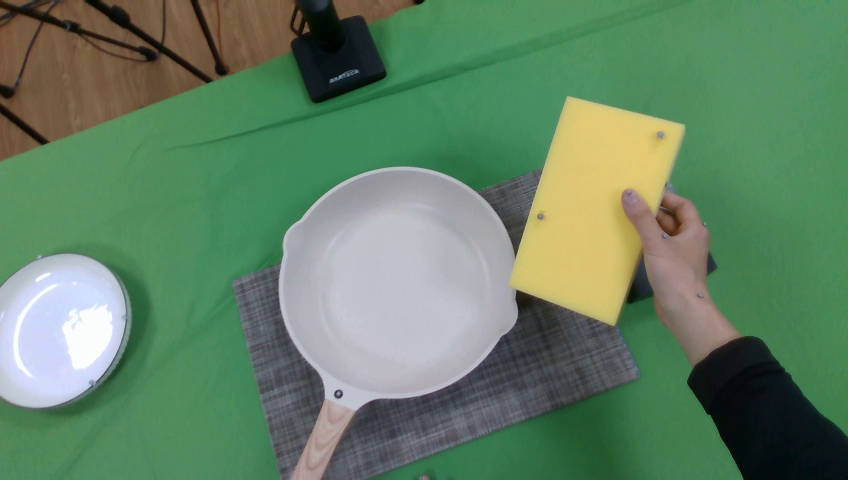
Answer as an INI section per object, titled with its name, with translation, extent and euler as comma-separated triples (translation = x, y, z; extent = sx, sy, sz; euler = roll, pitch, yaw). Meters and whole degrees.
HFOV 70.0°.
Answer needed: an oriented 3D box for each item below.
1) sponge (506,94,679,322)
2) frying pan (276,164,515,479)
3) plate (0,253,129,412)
[sponge]
translation = 0.175, -0.034, 0.635
extent = 0.117, 0.061, 0.207
euler = 19, 99, 20
[frying pan]
translation = -0.076, 0.136, 0.721
extent = 0.306, 0.103, 0.485
euler = 20, 67, 12
[plate]
translation = -0.487, 0.121, 0.803
extent = 0.207, 0.039, 0.206
euler = -1, 72, 4
